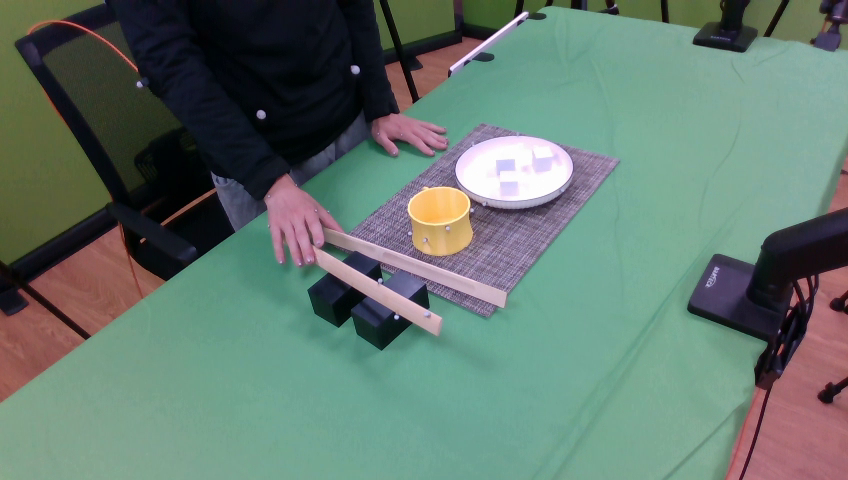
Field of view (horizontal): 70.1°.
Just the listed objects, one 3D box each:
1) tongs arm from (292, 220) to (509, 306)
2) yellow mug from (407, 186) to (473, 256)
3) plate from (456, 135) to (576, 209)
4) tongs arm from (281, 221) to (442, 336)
[{"bbox_3d":[-0.048,0.029,0.924,0.385,0.028,0.028,18,26,26],"label":"tongs arm"},{"bbox_3d":[0.021,-0.041,0.973,0.100,0.064,0.129,-19,42,-12],"label":"yellow mug"},{"bbox_3d":[0.161,-0.116,1.064,0.207,0.039,0.206,-4,40,4],"label":"plate"},{"bbox_3d":[-0.101,0.043,0.861,0.381,0.026,0.051,24,26,39],"label":"tongs arm"}]
